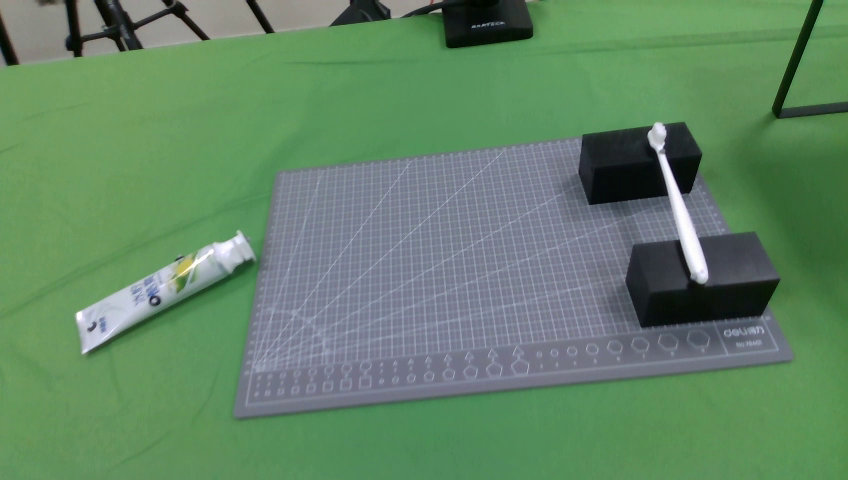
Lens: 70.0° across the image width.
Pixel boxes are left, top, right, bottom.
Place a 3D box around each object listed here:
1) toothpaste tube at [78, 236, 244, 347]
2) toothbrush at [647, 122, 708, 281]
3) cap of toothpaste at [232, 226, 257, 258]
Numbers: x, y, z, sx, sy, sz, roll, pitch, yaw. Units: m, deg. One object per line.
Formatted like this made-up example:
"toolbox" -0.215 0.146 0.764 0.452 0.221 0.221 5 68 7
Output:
"toothpaste tube" -0.247 0.041 0.578 0.165 0.035 0.054 -29 45 -12
"toothbrush" 0.218 -0.040 0.522 0.014 0.017 0.180 7 50 -6
"cap of toothpaste" -0.176 0.004 0.593 0.011 0.038 0.037 -33 52 -20
